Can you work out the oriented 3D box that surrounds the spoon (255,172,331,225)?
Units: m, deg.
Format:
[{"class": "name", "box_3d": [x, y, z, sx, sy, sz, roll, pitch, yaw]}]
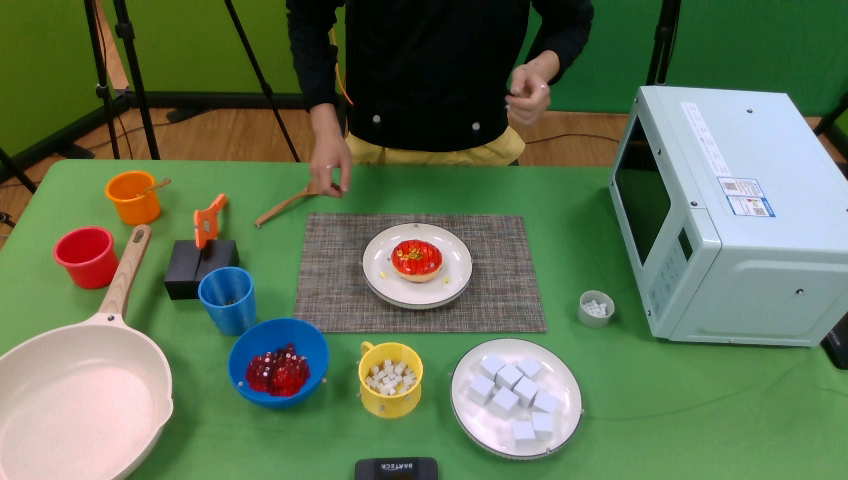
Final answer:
[{"class": "spoon", "box_3d": [-0.272, -0.087, 1.256, 0.041, 0.022, 0.193, 43, 57, 17]}]

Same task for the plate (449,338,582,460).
[{"class": "plate", "box_3d": [0.141, 0.251, 0.955, 0.208, 0.039, 0.206, 2, 46, -2]}]

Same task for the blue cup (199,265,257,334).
[{"class": "blue cup", "box_3d": [-0.321, 0.106, 1.015, 0.093, 0.101, 0.092, 2, 48, -2]}]

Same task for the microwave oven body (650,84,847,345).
[{"class": "microwave oven body", "box_3d": [0.568, -0.054, 1.116, 0.326, 0.261, 0.439, 2, 46, -1]}]

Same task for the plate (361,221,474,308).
[{"class": "plate", "box_3d": [-0.011, 0.049, 1.130, 0.209, 0.038, 0.208, 2, 46, -2]}]

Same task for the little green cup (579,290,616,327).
[{"class": "little green cup", "box_3d": [0.308, 0.124, 1.086, 0.061, 0.039, 0.061, 1, 45, -1]}]

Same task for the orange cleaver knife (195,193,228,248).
[{"class": "orange cleaver knife", "box_3d": [-0.406, -0.041, 1.163, 0.012, 0.077, 0.210, 0, 18, -3]}]

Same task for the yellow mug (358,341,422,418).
[{"class": "yellow mug", "box_3d": [-0.063, 0.210, 0.960, 0.100, 0.064, 0.130, -29, 54, -28]}]

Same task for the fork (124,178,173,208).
[{"class": "fork", "box_3d": [-0.525, -0.090, 1.153, 0.207, 0.019, 0.028, -18, 27, 45]}]

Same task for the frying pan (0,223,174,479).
[{"class": "frying pan", "box_3d": [-0.505, 0.169, 0.941, 0.307, 0.103, 0.485, 5, 54, -1]}]

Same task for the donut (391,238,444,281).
[{"class": "donut", "box_3d": [-0.012, 0.035, 1.128, 0.099, 0.048, 0.098, 3, 43, -3]}]

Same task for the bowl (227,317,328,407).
[{"class": "bowl", "box_3d": [-0.222, 0.203, 0.947, 0.151, 0.077, 0.150, 2, 46, -2]}]

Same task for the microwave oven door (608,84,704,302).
[{"class": "microwave oven door", "box_3d": [0.424, -0.096, 1.138, 0.039, 0.245, 0.353, 2, 46, -1]}]

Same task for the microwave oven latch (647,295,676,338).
[{"class": "microwave oven latch", "box_3d": [0.413, 0.133, 1.060, 0.030, 0.029, 0.078, 4, 46, 1]}]
